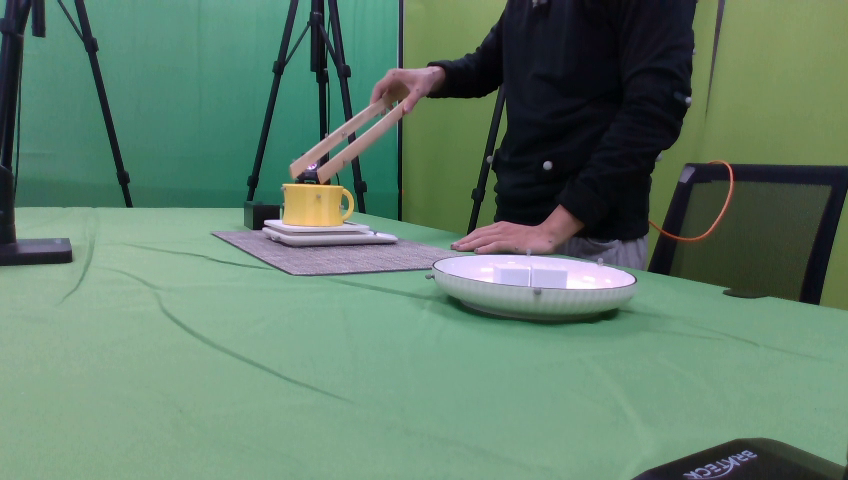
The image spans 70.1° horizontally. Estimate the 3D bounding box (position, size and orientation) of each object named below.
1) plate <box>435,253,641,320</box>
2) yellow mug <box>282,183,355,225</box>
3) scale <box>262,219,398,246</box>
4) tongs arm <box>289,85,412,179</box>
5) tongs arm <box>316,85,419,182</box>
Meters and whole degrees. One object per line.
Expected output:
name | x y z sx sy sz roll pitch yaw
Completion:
plate | 0.114 0.047 0.626 0.208 0.039 0.207 2 7 0
yellow mug | -0.172 -0.061 1.009 0.131 0.064 0.099 -2 7 -41
scale | -0.160 -0.016 1.028 0.202 0.031 0.148 -2 8 -31
tongs arm | -0.122 -0.211 1.130 0.050 0.026 0.385 6 35 25
tongs arm | -0.091 -0.206 1.115 0.028 0.028 0.388 3 34 28
